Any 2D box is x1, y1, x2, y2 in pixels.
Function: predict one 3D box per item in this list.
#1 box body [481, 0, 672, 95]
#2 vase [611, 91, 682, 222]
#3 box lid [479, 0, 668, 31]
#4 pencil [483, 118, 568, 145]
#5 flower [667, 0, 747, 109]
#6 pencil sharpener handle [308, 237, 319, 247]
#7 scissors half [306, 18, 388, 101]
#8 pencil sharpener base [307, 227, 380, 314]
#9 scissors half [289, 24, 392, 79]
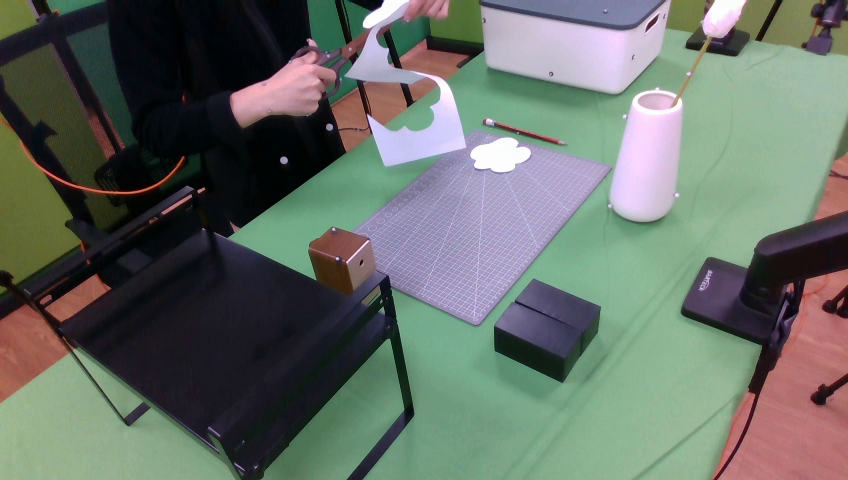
[{"bbox_3d":[0.341,-0.480,1.381,0.361,0.161,0.255,22,48,30],"label":"box body"},{"bbox_3d":[0.348,-0.125,0.935,0.098,0.201,0.097,-3,40,3],"label":"vase"},{"bbox_3d":[0.335,-0.536,1.331,0.368,0.015,0.264,23,49,30],"label":"box lid"},{"bbox_3d":[0.202,-0.217,1.212,0.192,0.012,0.012,24,49,29],"label":"pencil"},{"bbox_3d":[0.354,-0.187,0.879,0.038,0.362,0.044,30,48,14],"label":"flower"},{"bbox_3d":[-0.159,0.017,0.892,0.030,0.068,0.036,18,61,28],"label":"pencil sharpener handle"},{"bbox_3d":[-0.119,-0.282,0.947,0.175,0.040,0.012,-44,18,14],"label":"scissors half"},{"bbox_3d":[-0.116,0.043,0.875,0.076,0.107,0.061,18,47,27],"label":"pencil sharpener base"},{"bbox_3d":[-0.131,-0.298,0.939,0.175,0.040,0.013,-21,27,4],"label":"scissors half"}]
